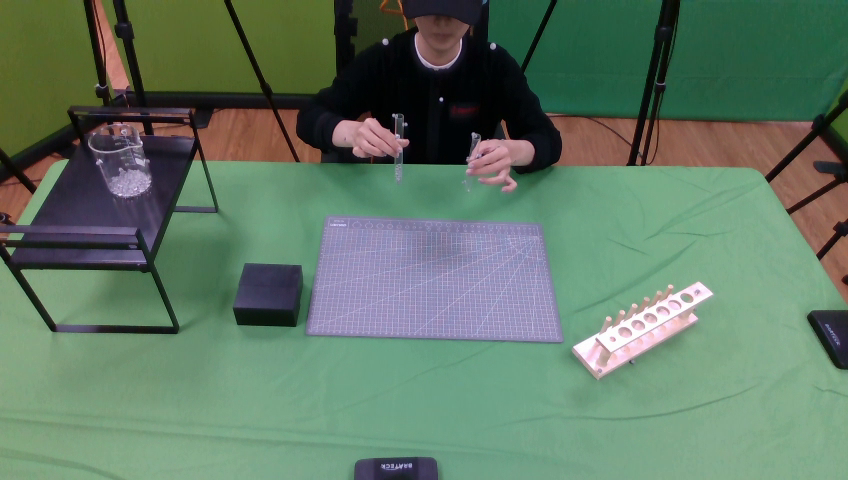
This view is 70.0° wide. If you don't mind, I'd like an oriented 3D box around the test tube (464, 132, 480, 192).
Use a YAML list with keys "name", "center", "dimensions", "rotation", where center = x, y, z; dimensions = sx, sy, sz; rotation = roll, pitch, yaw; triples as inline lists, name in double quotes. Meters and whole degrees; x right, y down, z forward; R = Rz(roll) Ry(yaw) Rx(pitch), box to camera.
- name: "test tube"
  center: [0.088, -0.139, 1.112]
  dimensions: [0.017, 0.151, 0.017]
  rotation: [1, 54, -2]

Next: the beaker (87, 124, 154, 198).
- name: "beaker"
  center: [-0.482, -0.124, 0.978]
  dimensions: [0.084, 0.101, 0.073]
  rotation: [9, 46, 4]

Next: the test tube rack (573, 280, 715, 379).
- name: "test tube rack"
  center: [0.378, 0.140, 1.038]
  dimensions: [0.242, 0.085, 0.066]
  rotation: [-22, 51, -23]

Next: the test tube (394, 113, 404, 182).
- name: "test tube"
  center: [-0.045, -0.165, 1.100]
  dimensions: [0.017, 0.151, 0.017]
  rotation: [2, 46, -2]
